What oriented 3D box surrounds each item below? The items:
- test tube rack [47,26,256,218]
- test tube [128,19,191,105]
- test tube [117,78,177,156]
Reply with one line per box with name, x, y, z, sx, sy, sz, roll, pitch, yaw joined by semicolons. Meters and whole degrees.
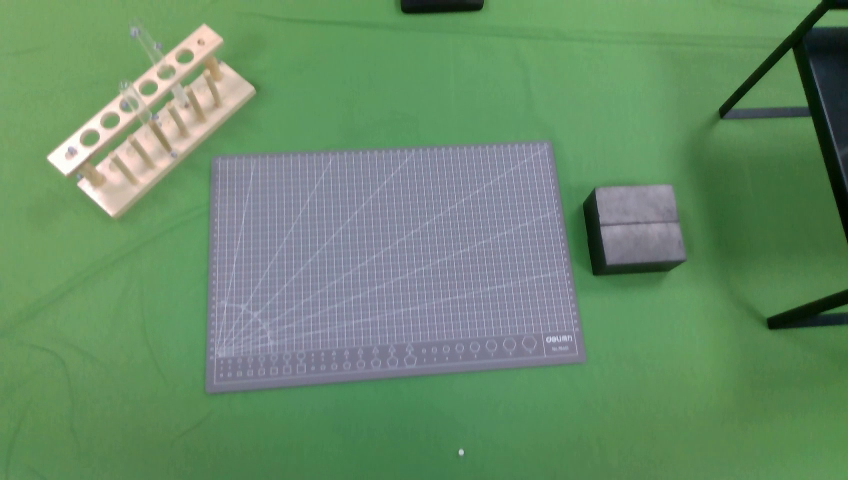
test tube rack;-0.327;-0.146;0.752;0.066;0.085;0.242;40;74;9
test tube;-0.309;-0.207;0.720;0.017;0.151;0.017;0;70;2
test tube;-0.319;-0.140;0.703;0.017;0.151;0.017;1;69;-3
